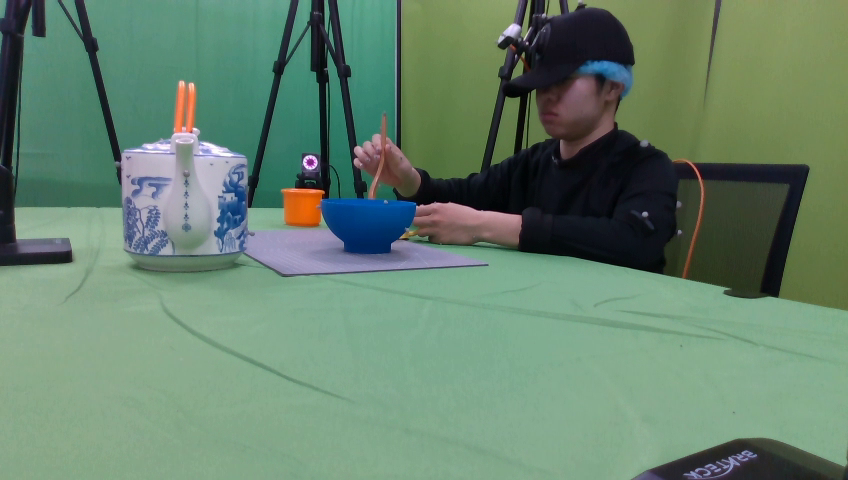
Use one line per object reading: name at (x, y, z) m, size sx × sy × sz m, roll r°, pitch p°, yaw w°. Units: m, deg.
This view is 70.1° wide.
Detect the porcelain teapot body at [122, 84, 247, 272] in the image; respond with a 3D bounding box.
porcelain teapot body at (-0.286, -0.075, 0.733) m, size 0.146 × 0.225 × 0.204 m, roll 0°, pitch 8°, yaw -24°

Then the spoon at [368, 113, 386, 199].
spoon at (-0.084, -0.141, 1.127) m, size 0.021 × 0.193 × 0.041 m, roll 9°, pitch -2°, yaw 2°

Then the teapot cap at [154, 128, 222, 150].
teapot cap at (-0.294, -0.117, 0.754) m, size 0.085 × 0.044 × 0.085 m, roll 4°, pitch 9°, yaw 0°

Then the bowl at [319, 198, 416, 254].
bowl at (-0.089, -0.022, 0.941) m, size 0.151 × 0.077 × 0.151 m, roll 2°, pitch 7°, yaw 0°

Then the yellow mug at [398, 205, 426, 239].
yellow mug at (-0.061, -0.039, 1.128) m, size 0.131 × 0.064 × 0.100 m, roll 2°, pitch 7°, yaw 0°
